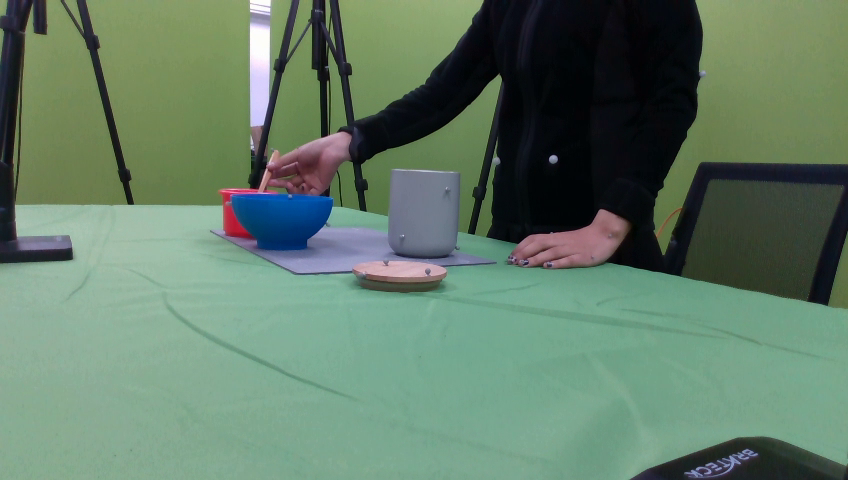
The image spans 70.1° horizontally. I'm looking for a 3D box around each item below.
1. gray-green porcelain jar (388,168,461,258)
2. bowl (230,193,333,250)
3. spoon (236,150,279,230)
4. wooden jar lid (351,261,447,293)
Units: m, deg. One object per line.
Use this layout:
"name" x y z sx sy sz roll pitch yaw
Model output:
"gray-green porcelain jar" 0.000 -0.041 0.897 0.106 0.126 0.106 2 7 0
"bowl" -0.214 -0.028 0.912 0.151 0.077 0.151 2 8 0
"spoon" -0.286 -0.091 1.070 0.042 0.193 0.021 17 -34 -8
"wooden jar lid" -0.028 0.042 0.687 0.108 0.020 0.108 3 8 0
